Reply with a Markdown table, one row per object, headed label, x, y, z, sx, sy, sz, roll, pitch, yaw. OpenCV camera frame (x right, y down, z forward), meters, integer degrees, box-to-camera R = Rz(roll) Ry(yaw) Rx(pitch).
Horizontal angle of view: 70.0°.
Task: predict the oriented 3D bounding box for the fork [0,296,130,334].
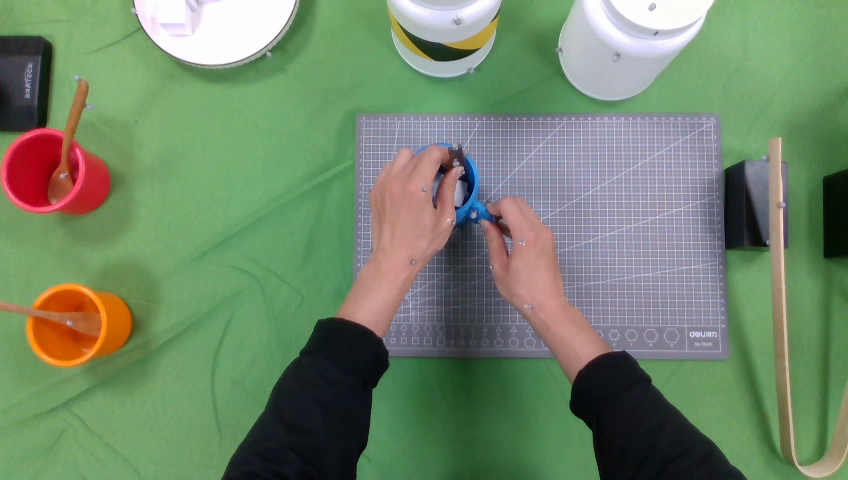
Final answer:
| label | x | y | z | sx | sy | sz | roll | pitch | yaw |
| --- | --- | --- | --- | --- | --- | --- | --- | --- | --- |
| fork | -0.433 | 0.074 | 0.668 | 0.209 | 0.018 | 0.028 | 23 | 84 | -41 |

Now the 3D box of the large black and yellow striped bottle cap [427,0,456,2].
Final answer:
| label | x | y | z | sx | sy | sz | roll | pitch | yaw |
| --- | --- | --- | --- | --- | --- | --- | --- | --- | --- |
| large black and yellow striped bottle cap | 0.017 | -0.291 | 0.591 | 0.115 | 0.019 | 0.115 | 0 | 86 | 0 |

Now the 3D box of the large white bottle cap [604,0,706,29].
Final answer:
| label | x | y | z | sx | sy | sz | roll | pitch | yaw |
| --- | --- | --- | --- | --- | --- | --- | --- | --- | --- |
| large white bottle cap | 0.224 | -0.261 | 0.584 | 0.115 | 0.018 | 0.114 | 0 | 85 | 0 |

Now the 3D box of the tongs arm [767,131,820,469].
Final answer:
| label | x | y | z | sx | sy | sz | roll | pitch | yaw |
| --- | --- | --- | --- | --- | --- | --- | --- | --- | --- |
| tongs arm | 0.413 | 0.071 | 0.678 | 0.051 | 0.026 | 0.385 | -4 | 97 | -2 |

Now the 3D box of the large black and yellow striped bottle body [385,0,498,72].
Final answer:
| label | x | y | z | sx | sy | sz | roll | pitch | yaw |
| --- | --- | --- | --- | --- | --- | --- | --- | --- | --- |
| large black and yellow striped bottle body | 0.020 | -0.281 | 0.674 | 0.131 | 0.184 | 0.130 | 0 | 84 | 1 |

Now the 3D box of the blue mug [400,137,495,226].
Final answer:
| label | x | y | z | sx | sy | sz | roll | pitch | yaw |
| --- | --- | --- | --- | --- | --- | --- | --- | --- | --- |
| blue mug | 0.031 | -0.055 | 0.692 | 0.116 | 0.106 | 0.082 | 33 | 86 | 3 |

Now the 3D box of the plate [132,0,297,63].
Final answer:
| label | x | y | z | sx | sy | sz | roll | pitch | yaw |
| --- | --- | --- | --- | --- | --- | --- | --- | --- | --- |
| plate | -0.256 | -0.318 | 0.754 | 0.208 | 0.039 | 0.207 | 0 | 85 | 1 |

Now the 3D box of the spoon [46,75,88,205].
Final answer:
| label | x | y | z | sx | sy | sz | roll | pitch | yaw |
| --- | --- | --- | --- | --- | --- | --- | --- | --- | --- |
| spoon | -0.403 | -0.108 | 0.686 | 0.041 | 0.021 | 0.194 | 46 | 131 | 7 |

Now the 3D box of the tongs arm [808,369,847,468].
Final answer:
| label | x | y | z | sx | sy | sz | roll | pitch | yaw |
| --- | --- | --- | --- | --- | --- | --- | --- | --- | --- |
| tongs arm | 0.495 | 0.071 | 0.679 | 0.028 | 0.027 | 0.388 | 9 | 97 | -7 |

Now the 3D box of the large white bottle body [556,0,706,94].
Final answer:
| label | x | y | z | sx | sy | sz | roll | pitch | yaw |
| --- | --- | --- | --- | --- | --- | --- | --- | --- | --- |
| large white bottle body | 0.226 | -0.252 | 0.668 | 0.130 | 0.185 | 0.130 | 0 | 85 | 1 |

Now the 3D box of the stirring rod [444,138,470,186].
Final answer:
| label | x | y | z | sx | sy | sz | roll | pitch | yaw |
| --- | --- | --- | --- | --- | --- | --- | --- | --- | --- |
| stirring rod | 0.037 | -0.079 | 0.637 | 0.014 | 0.177 | 0.006 | -23 | 80 | 4 |
